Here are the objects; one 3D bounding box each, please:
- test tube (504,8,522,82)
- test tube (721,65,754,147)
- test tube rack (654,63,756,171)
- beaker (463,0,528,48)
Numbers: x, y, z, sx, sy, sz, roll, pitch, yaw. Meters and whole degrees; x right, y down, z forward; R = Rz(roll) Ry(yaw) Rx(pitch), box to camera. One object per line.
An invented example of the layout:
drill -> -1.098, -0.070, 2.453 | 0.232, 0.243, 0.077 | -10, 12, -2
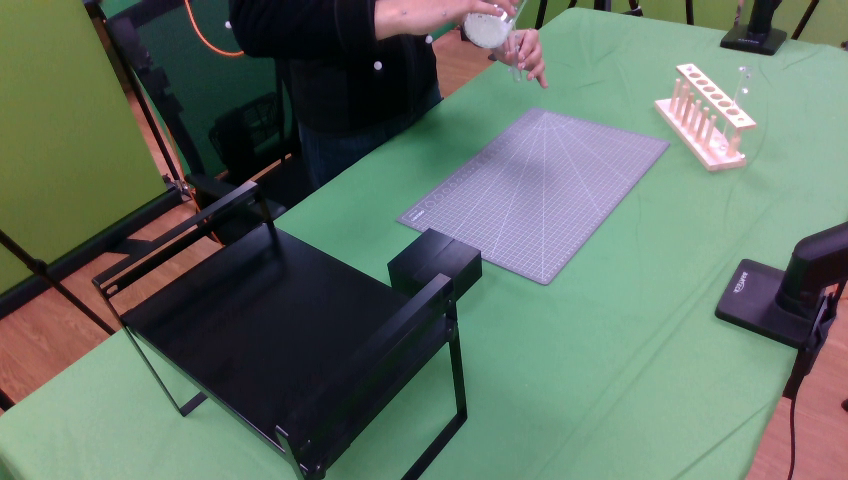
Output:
test tube -> 0.147, -0.316, 0.993 | 0.017, 0.151, 0.017 | -7, 59, 12
test tube -> 0.534, -0.226, 1.031 | 0.017, 0.151, 0.017 | -2, 40, 2
test tube rack -> 0.511, -0.233, 1.120 | 0.067, 0.085, 0.241 | -8, 41, -1
beaker -> 0.105, -0.335, 0.879 | 0.073, 0.084, 0.100 | 18, 64, 19
